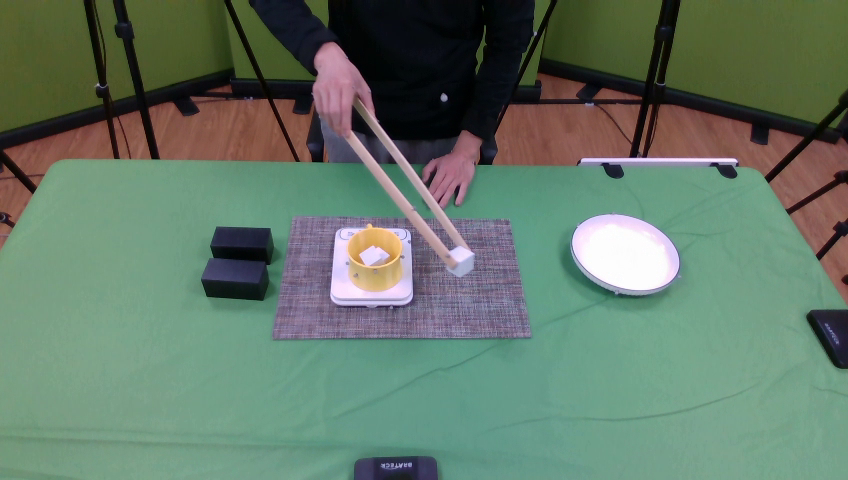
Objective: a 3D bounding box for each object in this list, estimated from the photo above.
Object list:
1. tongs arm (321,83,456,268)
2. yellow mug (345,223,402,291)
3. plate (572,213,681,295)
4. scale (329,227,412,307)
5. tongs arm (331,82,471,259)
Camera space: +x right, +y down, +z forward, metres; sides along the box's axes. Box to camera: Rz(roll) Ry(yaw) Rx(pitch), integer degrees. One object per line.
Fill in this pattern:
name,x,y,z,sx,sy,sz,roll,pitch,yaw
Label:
tongs arm,-0.060,-0.114,1.026,0.051,0.026,0.384,-34,80,-33
yellow mug,-0.092,0.022,1.093,0.100,0.064,0.130,-8,46,-10
plate,0.392,0.030,1.189,0.208,0.039,0.206,2,46,-2
scale,-0.099,0.042,1.139,0.149,0.032,0.199,1,46,-4
tongs arm,-0.041,-0.124,1.040,0.028,0.028,0.386,-31,78,-28
